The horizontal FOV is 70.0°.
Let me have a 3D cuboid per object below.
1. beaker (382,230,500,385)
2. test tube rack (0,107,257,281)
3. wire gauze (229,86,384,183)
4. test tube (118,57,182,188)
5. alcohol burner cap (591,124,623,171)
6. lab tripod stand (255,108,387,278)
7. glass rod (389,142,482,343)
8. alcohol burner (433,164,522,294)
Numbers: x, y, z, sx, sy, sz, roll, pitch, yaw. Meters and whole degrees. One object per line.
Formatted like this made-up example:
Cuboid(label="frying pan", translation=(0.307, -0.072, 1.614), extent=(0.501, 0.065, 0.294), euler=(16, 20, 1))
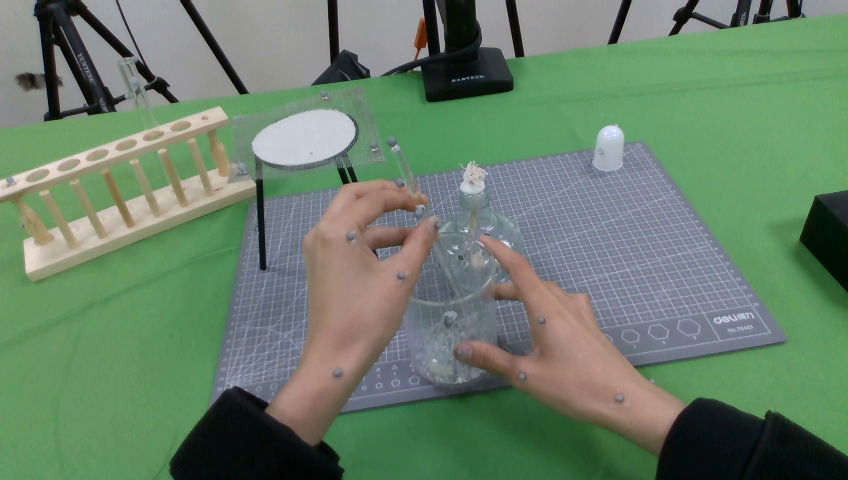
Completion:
Cuboid(label="beaker", translation=(0.016, 0.054, 0.455), extent=(0.084, 0.101, 0.073), euler=(-3, 41, 7))
Cuboid(label="test tube rack", translation=(-0.313, -0.054, 0.648), extent=(0.242, 0.086, 0.066), euler=(-25, 43, -19))
Cuboid(label="wire gauze", translation=(-0.103, -0.090, 0.511), extent=(0.125, 0.011, 0.120), euler=(-13, 41, -4))
Cuboid(label="test tube", translation=(-0.288, -0.120, 0.643), extent=(0.017, 0.151, 0.017), euler=(-4, 38, 4))
Cuboid(label="alcohol burner cap", translation=(0.197, -0.102, 0.649), extent=(0.034, 0.048, 0.033), euler=(-4, 41, 4))
Cuboid(label="lab tripod stand", translation=(-0.095, -0.040, 0.555), extent=(0.148, 0.133, 0.147), euler=(-5, 43, 5))
Cuboid(label="glass rod", translation=(0.012, 0.013, 0.425), extent=(0.008, 0.202, 0.008), euler=(-13, 42, 13))
Cuboid(label="alcohol burner", translation=(0.045, -0.012, 0.516), extent=(0.078, 0.120, 0.077), euler=(-5, 39, 4))
